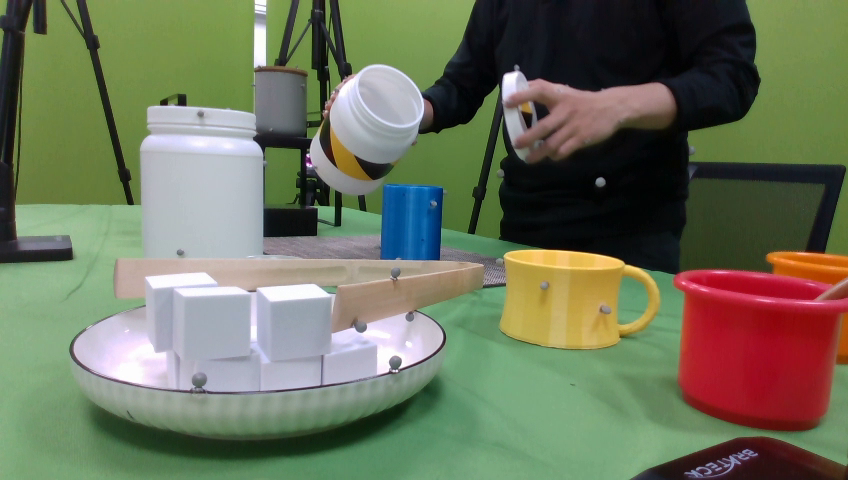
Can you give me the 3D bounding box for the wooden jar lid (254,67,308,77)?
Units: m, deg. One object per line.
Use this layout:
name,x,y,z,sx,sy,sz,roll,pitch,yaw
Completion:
wooden jar lid,-0.296,-0.339,1.251,0.108,0.020,0.108,2,7,0

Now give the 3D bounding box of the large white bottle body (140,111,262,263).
large white bottle body,-0.254,-0.053,0.697,0.131,0.184,0.130,2,7,0

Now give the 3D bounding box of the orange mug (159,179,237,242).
orange mug,-0.368,-0.052,0.991,0.127,0.101,0.083,-10,14,-41

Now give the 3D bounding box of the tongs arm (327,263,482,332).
tongs arm,-0.003,0.036,0.493,0.050,0.026,0.386,1,0,19

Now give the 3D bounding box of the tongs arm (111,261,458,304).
tongs arm,-0.080,0.032,0.527,0.028,0.027,0.389,-3,-3,33

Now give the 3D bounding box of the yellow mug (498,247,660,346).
yellow mug,0.130,0.045,0.508,0.131,0.064,0.100,4,7,6

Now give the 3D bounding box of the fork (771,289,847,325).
fork,0.335,0.018,0.443,0.028,0.018,0.207,-2,-36,-20

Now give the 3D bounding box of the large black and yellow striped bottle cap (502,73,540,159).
large black and yellow striped bottle cap,0.132,-0.166,0.812,0.019,0.115,0.115,-10,2,23

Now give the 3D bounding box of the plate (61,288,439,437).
plate,-0.095,0.069,0.362,0.208,0.039,0.207,3,7,0

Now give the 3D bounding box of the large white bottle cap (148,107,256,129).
large white bottle cap,-0.250,-0.137,0.686,0.115,0.018,0.115,3,8,0

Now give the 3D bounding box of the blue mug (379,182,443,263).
blue mug,-0.020,-0.026,0.833,0.082,0.106,0.116,1,7,-7

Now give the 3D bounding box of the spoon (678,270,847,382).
spoon,0.229,0.031,0.338,0.193,0.021,0.042,-44,-16,27

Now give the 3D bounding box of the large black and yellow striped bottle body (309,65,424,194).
large black and yellow striped bottle body,-0.089,-0.167,0.928,0.131,0.130,0.183,-2,-24,-31

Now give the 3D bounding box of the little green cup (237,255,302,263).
little green cup,-0.150,0.038,0.590,0.061,0.038,0.061,3,6,0

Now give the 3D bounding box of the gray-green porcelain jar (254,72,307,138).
gray-green porcelain jar,-0.298,-0.277,1.259,0.106,0.126,0.106,3,7,0

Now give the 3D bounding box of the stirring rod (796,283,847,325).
stirring rod,0.346,0.019,0.460,0.014,0.176,0.006,-17,59,-26
